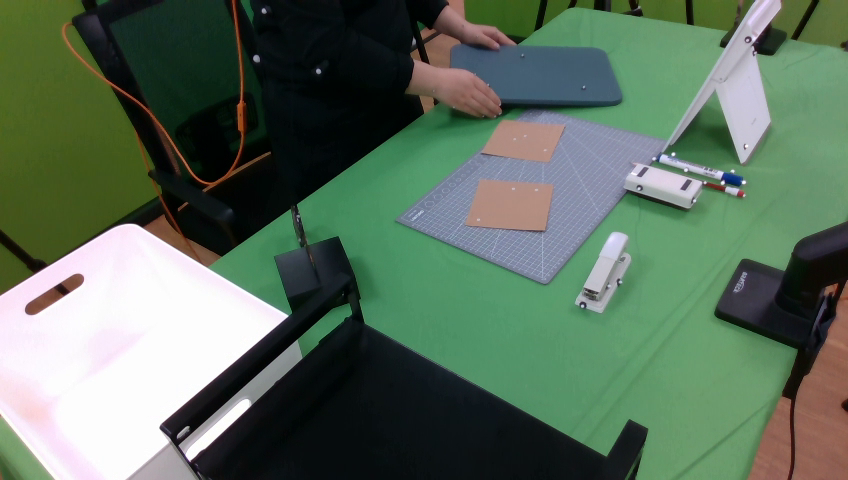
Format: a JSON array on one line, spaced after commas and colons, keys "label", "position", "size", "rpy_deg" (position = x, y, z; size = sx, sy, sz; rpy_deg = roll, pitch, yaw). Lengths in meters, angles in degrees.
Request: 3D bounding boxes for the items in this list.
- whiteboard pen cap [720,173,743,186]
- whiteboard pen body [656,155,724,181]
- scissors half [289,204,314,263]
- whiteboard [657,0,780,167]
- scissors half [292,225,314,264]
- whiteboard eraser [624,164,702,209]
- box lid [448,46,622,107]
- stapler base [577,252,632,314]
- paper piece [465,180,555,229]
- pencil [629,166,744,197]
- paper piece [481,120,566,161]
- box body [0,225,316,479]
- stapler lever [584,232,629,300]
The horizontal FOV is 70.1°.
[{"label": "whiteboard pen cap", "position": [0.519, -0.103, 1.020], "size": [0.033, 0.018, 0.018], "rpy_deg": [23, 49, 30]}, {"label": "whiteboard pen body", "position": [0.475, -0.123, 1.052], "size": [0.139, 0.017, 0.017], "rpy_deg": [24, 49, 32]}, {"label": "scissors half", "position": [-0.191, -0.010, 0.944], "size": [0.013, 0.040, 0.173], "rpy_deg": [-15, 38, -16]}, {"label": "whiteboard", "position": [0.571, -0.272, 1.038], "size": [0.143, 0.306, 0.218], "rpy_deg": [37, 54, 17]}, {"label": "scissors half", "position": [-0.188, 0.007, 0.954], "size": [0.013, 0.040, 0.174], "rpy_deg": [-20, 21, -13]}, {"label": "whiteboard eraser", "position": [0.396, -0.087, 1.003], "size": [0.112, 0.042, 0.056], "rpy_deg": [22, 47, 31]}, {"label": "box lid", "position": [0.242, -0.369, 1.353], "size": [0.372, 0.015, 0.262], "rpy_deg": [2, 42, 1]}, {"label": "stapler base", "position": [0.264, 0.051, 0.875], "size": [0.041, 0.024, 0.131], "rpy_deg": [16, 47, 30]}, {"label": "paper piece", "position": [0.149, -0.062, 1.034], "size": [0.137, 0.009, 0.136], "rpy_deg": [4, 37, 17]}, {"label": "pencil", "position": [0.447, -0.103, 1.038], "size": [0.192, 0.012, 0.012], "rpy_deg": [21, 48, 29]}, {"label": "paper piece", "position": [0.197, -0.199, 1.188], "size": [0.135, 0.004, 0.135], "rpy_deg": [11, 44, 21]}, {"label": "box body", "position": [-0.339, 0.162, 0.728], "size": [0.361, 0.161, 0.255], "rpy_deg": [23, 48, 31]}, {"label": "stapler lever", "position": [0.261, 0.034, 0.858], "size": [0.026, 0.040, 0.118], "rpy_deg": [16, 46, 30]}]
